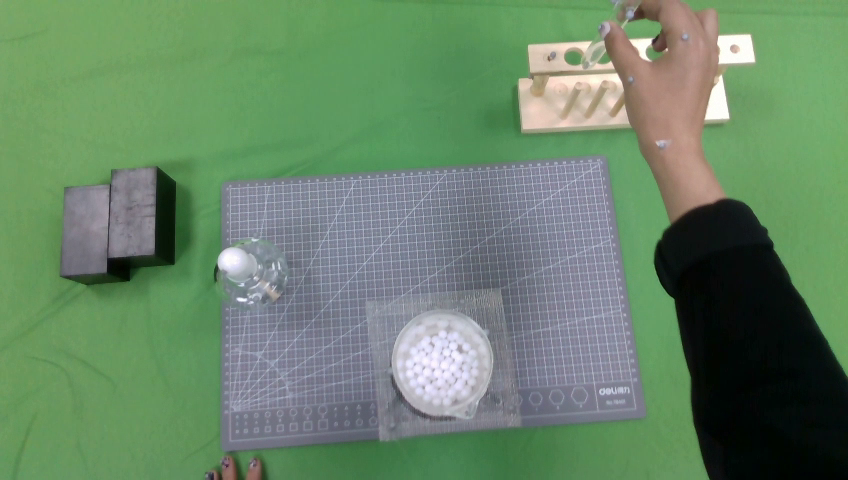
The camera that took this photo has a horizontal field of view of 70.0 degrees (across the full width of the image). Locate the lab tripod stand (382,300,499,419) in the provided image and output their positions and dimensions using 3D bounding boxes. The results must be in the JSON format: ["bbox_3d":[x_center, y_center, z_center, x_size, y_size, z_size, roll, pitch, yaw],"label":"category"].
[{"bbox_3d":[0.011,0.122,0.593,0.148,0.132,0.147,0,76,2],"label":"lab tripod stand"}]

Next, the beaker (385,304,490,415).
[{"bbox_3d":[0.014,0.098,0.481,0.074,0.101,0.083,-27,77,-5],"label":"beaker"}]

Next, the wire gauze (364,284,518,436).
[{"bbox_3d":[0.013,0.103,0.530,0.125,0.011,0.121,-7,75,1],"label":"wire gauze"}]

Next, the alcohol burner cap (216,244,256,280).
[{"bbox_3d":[-0.185,0.020,0.590,0.034,0.048,0.033,1,79,-3],"label":"alcohol burner cap"}]

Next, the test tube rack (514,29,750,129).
[{"bbox_3d":[0.231,-0.181,0.690,0.242,0.085,0.066,-3,77,0],"label":"test tube rack"}]

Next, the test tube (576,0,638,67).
[{"bbox_3d":[0.156,-0.182,0.520,0.017,0.150,0.017,0,85,0],"label":"test tube"}]

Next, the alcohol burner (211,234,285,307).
[{"bbox_3d":[-0.186,0.028,0.625,0.078,0.119,0.077,0,75,1],"label":"alcohol burner"}]

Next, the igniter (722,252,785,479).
[{"bbox_3d":[0.348,0.148,0.643,0.057,0.025,0.275,2,77,-9],"label":"igniter"}]
